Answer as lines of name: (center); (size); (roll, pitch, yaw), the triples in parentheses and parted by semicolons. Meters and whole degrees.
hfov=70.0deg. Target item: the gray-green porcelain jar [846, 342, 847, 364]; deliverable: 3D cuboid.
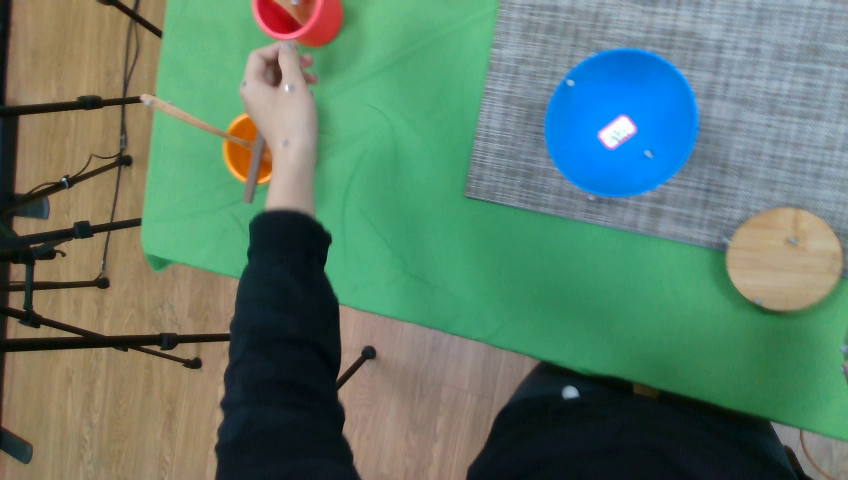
gray-green porcelain jar: (0.399, 0.088, 0.478); (0.105, 0.128, 0.105); (-12, 66, 28)

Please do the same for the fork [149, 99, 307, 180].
fork: (-0.246, -0.128, 0.775); (0.209, 0.018, 0.028); (23, 114, -29)

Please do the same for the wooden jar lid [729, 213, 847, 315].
wooden jar lid: (0.381, 0.025, 0.638); (0.108, 0.021, 0.108); (3, 100, 20)

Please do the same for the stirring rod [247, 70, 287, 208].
stirring rod: (-0.197, -0.125, 0.757); (0.014, 0.006, 0.176); (18, 99, 14)

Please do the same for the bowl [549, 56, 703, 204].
bowl: (0.216, -0.113, 0.654); (0.151, 0.077, 0.151); (1, 94, 19)

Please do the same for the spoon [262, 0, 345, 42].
spoon: (-0.191, -0.297, 0.750); (0.195, 0.021, 0.041); (16, 100, -27)
